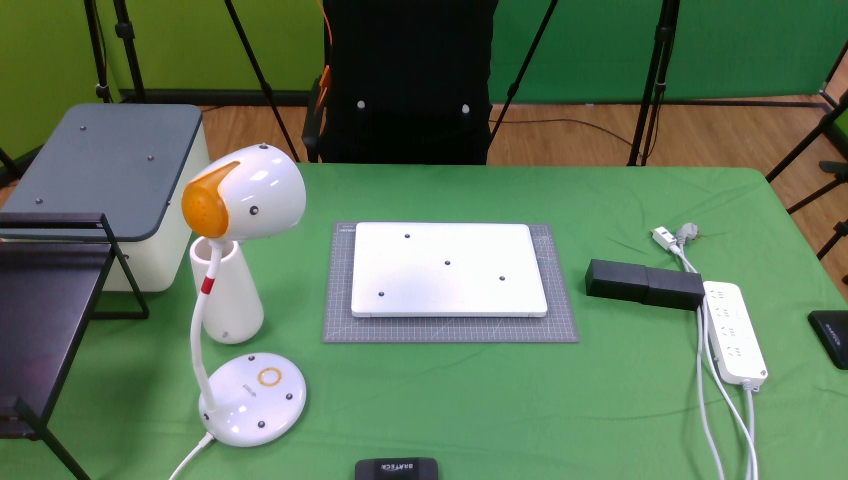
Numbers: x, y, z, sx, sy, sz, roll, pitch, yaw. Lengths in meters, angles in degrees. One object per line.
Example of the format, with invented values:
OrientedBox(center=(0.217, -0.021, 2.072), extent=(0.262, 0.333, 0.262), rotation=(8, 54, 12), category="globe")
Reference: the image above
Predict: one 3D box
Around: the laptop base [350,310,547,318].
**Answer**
OrientedBox(center=(0.041, 0.056, 1.149), extent=(0.355, 0.023, 0.234), rotation=(0, 42, -4), category="laptop base")

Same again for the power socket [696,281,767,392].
OrientedBox(center=(0.543, 0.161, 1.077), extent=(0.072, 0.033, 0.225), rotation=(6, 46, 2), category="power socket")

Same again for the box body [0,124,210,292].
OrientedBox(center=(-0.568, -0.082, 1.134), extent=(0.254, 0.161, 0.361), rotation=(2, 46, -3), category="box body")

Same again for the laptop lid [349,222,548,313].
OrientedBox(center=(0.042, 0.046, 1.142), extent=(0.357, 0.013, 0.240), rotation=(2, 44, -3), category="laptop lid")

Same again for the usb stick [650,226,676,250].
OrientedBox(center=(0.485, -0.008, 1.238), extent=(0.021, 0.027, 0.059), rotation=(-22, 44, -13), category="usb stick")

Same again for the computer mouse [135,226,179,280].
OrientedBox(center=(-0.493, 0.020, 1.118), extent=(0.063, 0.041, 0.116), rotation=(1, 53, -10), category="computer mouse")

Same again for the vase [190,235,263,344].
OrientedBox(center=(-0.317, 0.081, 0.971), extent=(0.098, 0.201, 0.097), rotation=(3, 47, -3), category="vase")

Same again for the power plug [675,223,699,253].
OrientedBox(center=(0.538, 0.000, 1.243), extent=(0.053, 0.035, 0.072), rotation=(18, 81, -16), category="power plug")

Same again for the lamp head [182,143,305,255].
OrientedBox(center=(-0.216, -0.044, 0.697), extent=(0.112, 0.113, 0.123), rotation=(23, 31, 17), category="lamp head")

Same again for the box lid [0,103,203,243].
OrientedBox(center=(-0.563, -0.132, 1.079), extent=(0.263, 0.015, 0.369), rotation=(1, 46, -3), category="box lid")

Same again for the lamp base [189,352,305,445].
OrientedBox(center=(-0.268, 0.197, 0.876), extent=(0.160, 0.181, 0.179), rotation=(26, 52, 20), category="lamp base")

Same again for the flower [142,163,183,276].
OrientedBox(center=(-0.493, -0.056, 1.172), extent=(0.038, 0.044, 0.359), rotation=(36, 23, -32), category="flower")
